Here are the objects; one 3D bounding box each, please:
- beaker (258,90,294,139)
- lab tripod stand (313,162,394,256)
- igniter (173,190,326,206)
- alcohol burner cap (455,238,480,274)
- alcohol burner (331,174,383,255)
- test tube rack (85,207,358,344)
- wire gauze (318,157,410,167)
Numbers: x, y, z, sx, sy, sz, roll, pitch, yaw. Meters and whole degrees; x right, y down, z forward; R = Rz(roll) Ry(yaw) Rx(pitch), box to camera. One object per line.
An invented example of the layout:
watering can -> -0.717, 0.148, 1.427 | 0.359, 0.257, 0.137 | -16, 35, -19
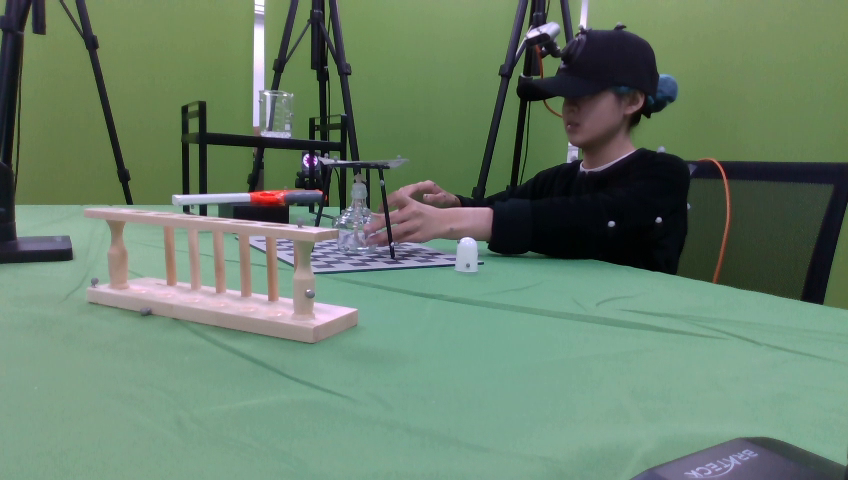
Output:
beaker -> -0.324, -0.274, 1.331 | 0.083, 0.100, 0.074 | 7, 9, 24
lab tripod stand -> -0.098, -0.048, 0.897 | 0.148, 0.131, 0.148 | 1, 5, 0
igniter -> -0.317, -0.079, 1.128 | 0.278, 0.025, 0.057 | -4, 13, -32
alcohol burner cap -> 0.058, 0.022, 0.798 | 0.034, 0.048, 0.034 | 3, 6, 0
alcohol burner -> -0.098, -0.038, 0.894 | 0.078, 0.119, 0.078 | 4, 9, 0
test tube rack -> -0.177, 0.022, 0.518 | 0.241, 0.085, 0.067 | 6, 7, 23
wire gauze -> -0.091, -0.114, 0.888 | 0.122, 0.011, 0.124 | 0, 6, -15
